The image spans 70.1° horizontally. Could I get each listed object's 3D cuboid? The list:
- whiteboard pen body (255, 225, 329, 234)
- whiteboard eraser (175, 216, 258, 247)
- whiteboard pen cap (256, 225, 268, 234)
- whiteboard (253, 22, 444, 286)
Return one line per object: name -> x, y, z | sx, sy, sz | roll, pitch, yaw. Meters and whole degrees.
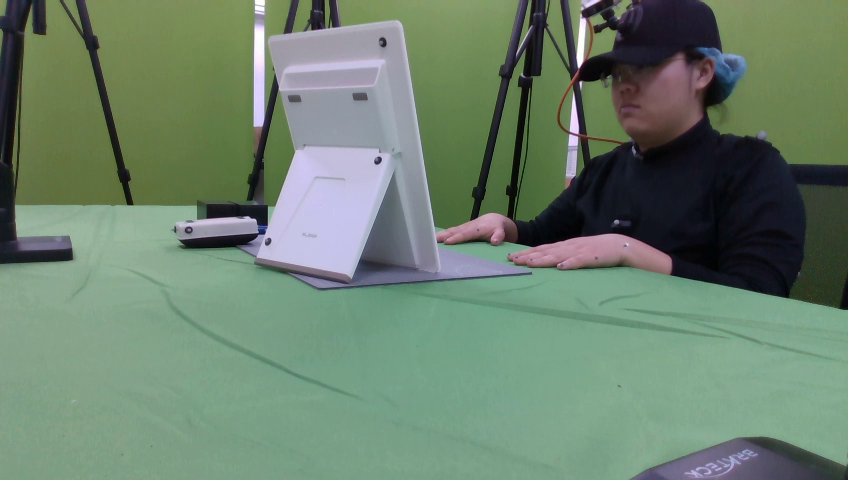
whiteboard pen body -> -0.239, -0.019, 1.105 | 0.141, 0.017, 0.017 | -2, 9, -34
whiteboard eraser -> -0.313, -0.013, 0.915 | 0.113, 0.042, 0.055 | -5, 12, -30
whiteboard pen cap -> -0.288, -0.019, 1.071 | 0.033, 0.018, 0.018 | -4, 10, -34
whiteboard -> -0.125, -0.081, 0.715 | 0.216, 0.305, 0.144 | 9, 29, 36
